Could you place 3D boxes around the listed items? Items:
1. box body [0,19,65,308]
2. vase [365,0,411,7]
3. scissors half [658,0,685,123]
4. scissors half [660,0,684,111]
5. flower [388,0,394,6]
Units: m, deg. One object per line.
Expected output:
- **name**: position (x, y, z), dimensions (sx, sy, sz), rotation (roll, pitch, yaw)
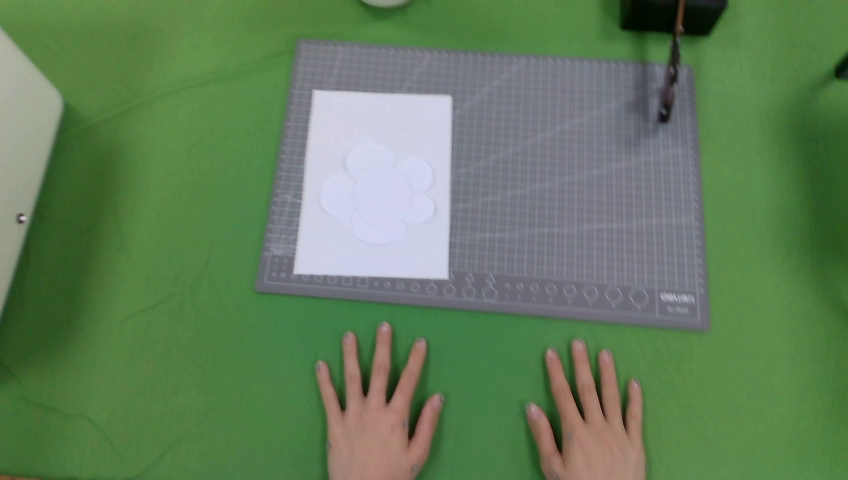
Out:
- **box body**: position (-0.527, -0.043, 0.557), dimensions (0.254, 0.161, 0.362), rotation (5, 72, 2)
- **vase**: position (-0.044, -0.342, 0.634), dimensions (0.098, 0.201, 0.097), rotation (0, 70, 2)
- **scissors half**: position (0.272, -0.211, 0.653), dimensions (0.012, 0.040, 0.175), rotation (10, 90, 18)
- **scissors half**: position (0.267, -0.215, 0.633), dimensions (0.013, 0.040, 0.174), rotation (11, 72, 13)
- **flower**: position (-0.051, -0.382, 0.560), dimensions (0.044, 0.365, 0.038), rotation (-2, 53, 4)
